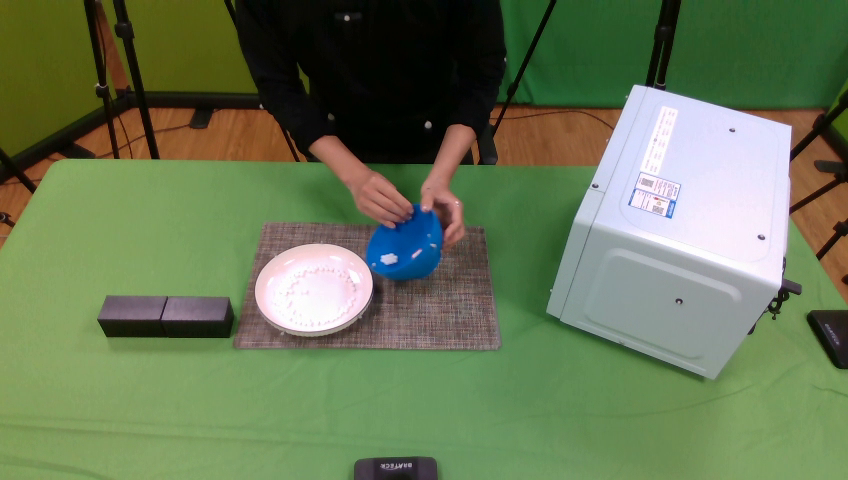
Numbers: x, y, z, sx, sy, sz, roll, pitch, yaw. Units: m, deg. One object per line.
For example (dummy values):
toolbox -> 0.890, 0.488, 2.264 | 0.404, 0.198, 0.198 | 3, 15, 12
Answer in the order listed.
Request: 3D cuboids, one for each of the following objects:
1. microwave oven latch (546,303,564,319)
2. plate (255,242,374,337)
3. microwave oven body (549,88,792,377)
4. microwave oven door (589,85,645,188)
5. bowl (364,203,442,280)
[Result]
microwave oven latch -> 0.242, 0.102, 1.081 | 0.030, 0.029, 0.079 | 21, 48, 17
plate -> -0.192, 0.090, 1.079 | 0.208, 0.039, 0.206 | 2, 46, -2
microwave oven body -> 0.456, -0.028, 1.088 | 0.325, 0.261, 0.440 | 20, 47, 16
microwave oven door -> 0.342, -0.107, 1.148 | 0.039, 0.245, 0.354 | 20, 48, 15
bowl -> -0.022, 0.016, 1.068 | 0.151, 0.077, 0.150 | -25, 40, 23
